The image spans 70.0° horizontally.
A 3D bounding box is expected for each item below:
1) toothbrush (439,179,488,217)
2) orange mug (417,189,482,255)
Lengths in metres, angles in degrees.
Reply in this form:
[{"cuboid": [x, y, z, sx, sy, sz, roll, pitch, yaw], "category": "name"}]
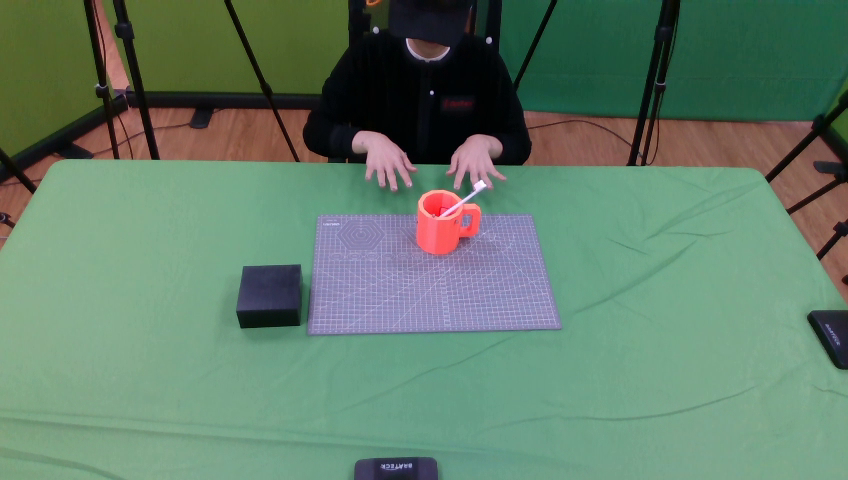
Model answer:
[{"cuboid": [0.053, -0.061, 1.146, 0.016, 0.182, 0.014, 56, 37, 5], "category": "toothbrush"}, {"cuboid": [0.049, -0.037, 1.176, 0.126, 0.101, 0.083, -7, 46, -4], "category": "orange mug"}]
